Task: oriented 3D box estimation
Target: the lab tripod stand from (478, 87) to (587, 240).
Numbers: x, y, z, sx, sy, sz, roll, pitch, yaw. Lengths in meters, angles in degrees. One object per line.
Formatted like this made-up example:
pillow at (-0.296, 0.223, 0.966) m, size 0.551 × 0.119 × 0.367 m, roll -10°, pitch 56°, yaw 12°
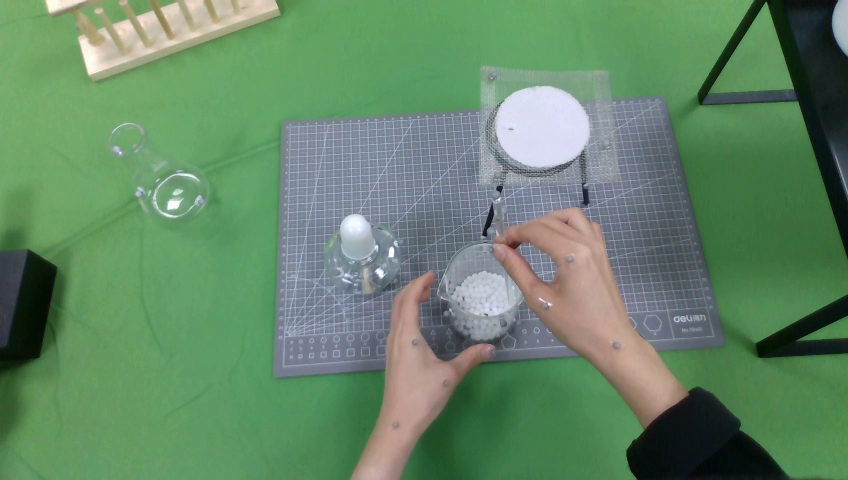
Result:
lab tripod stand at (0.104, -0.079, 0.608) m, size 0.148 × 0.132 × 0.147 m, roll 0°, pitch 66°, yaw 0°

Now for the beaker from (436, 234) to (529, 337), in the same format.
beaker at (0.053, 0.049, 0.576) m, size 0.084 × 0.101 × 0.073 m, roll -15°, pitch 68°, yaw -4°

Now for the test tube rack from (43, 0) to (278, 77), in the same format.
test tube rack at (-0.310, -0.288, 0.729) m, size 0.242 × 0.086 × 0.066 m, roll -23°, pitch 69°, yaw -8°

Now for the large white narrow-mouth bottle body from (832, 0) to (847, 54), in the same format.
large white narrow-mouth bottle body at (0.395, -0.216, 0.433) m, size 0.102 × 0.196 × 0.101 m, roll 0°, pitch 66°, yaw 1°

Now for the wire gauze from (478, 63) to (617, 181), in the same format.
wire gauze at (0.109, -0.109, 0.547) m, size 0.121 × 0.011 × 0.124 m, roll 2°, pitch 69°, yaw 0°

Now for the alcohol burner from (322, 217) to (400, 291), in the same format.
alcohol burner at (-0.062, 0.006, 0.589) m, size 0.078 × 0.120 × 0.077 m, roll 0°, pitch 67°, yaw 0°

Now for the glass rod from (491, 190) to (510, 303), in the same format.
glass rod at (0.066, 0.013, 0.509) m, size 0.008 × 0.201 × 0.008 m, roll -4°, pitch 62°, yaw 8°

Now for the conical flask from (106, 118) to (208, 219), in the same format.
conical flask at (-0.279, -0.077, 0.625) m, size 0.075 × 0.123 × 0.075 m, roll -1°, pitch 68°, yaw 2°

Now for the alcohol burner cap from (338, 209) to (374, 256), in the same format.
alcohol burner cap at (-0.064, -0.010, 0.555) m, size 0.034 × 0.048 × 0.033 m, roll 1°, pitch 61°, yaw -1°
